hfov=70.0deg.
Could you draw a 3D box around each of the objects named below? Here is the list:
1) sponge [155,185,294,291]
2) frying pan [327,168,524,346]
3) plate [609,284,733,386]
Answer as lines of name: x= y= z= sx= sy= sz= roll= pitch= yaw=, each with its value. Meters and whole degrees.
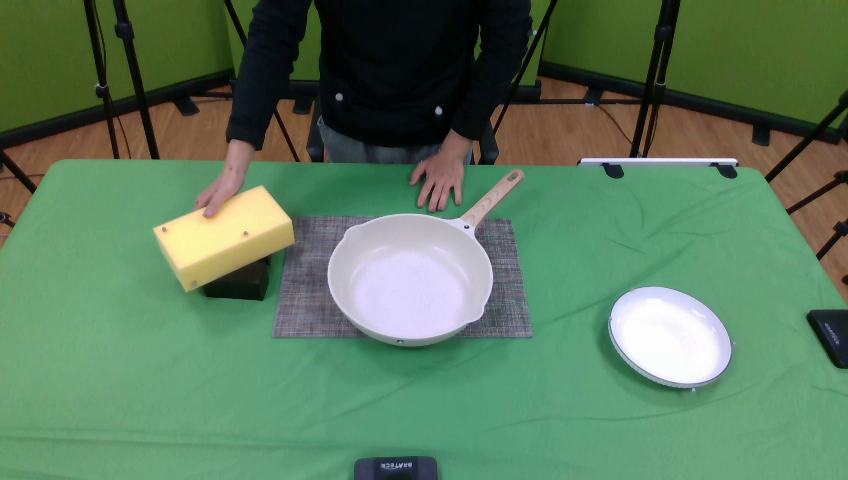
sponge: x=-0.354 y=-0.008 z=1.085 sx=0.207 sy=0.061 sz=0.117 roll=-28 pitch=54 yaw=-27
frying pan: x=0.042 y=0.009 z=1.132 sx=0.305 sy=0.103 sz=0.487 roll=34 pitch=61 yaw=24
plate: x=0.425 y=0.167 z=1.059 sx=0.208 sy=0.039 sz=0.206 roll=2 pitch=46 yaw=-2
